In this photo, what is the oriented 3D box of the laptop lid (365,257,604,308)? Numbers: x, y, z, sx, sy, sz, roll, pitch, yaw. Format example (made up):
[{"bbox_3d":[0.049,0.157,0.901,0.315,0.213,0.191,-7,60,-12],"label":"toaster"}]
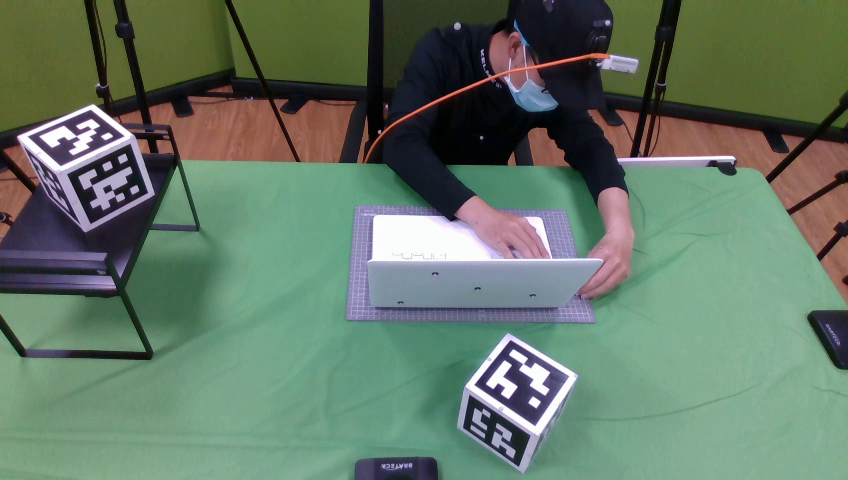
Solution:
[{"bbox_3d":[0.085,0.073,0.978,0.357,0.242,0.013,1,67,-5],"label":"laptop lid"}]

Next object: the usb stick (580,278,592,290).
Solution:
[{"bbox_3d":[0.279,0.079,1.121,0.059,0.027,0.021,-10,54,-7],"label":"usb stick"}]

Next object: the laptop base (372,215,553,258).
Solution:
[{"bbox_3d":[0.075,0.037,1.168,0.355,0.023,0.234,0,43,-4],"label":"laptop base"}]
